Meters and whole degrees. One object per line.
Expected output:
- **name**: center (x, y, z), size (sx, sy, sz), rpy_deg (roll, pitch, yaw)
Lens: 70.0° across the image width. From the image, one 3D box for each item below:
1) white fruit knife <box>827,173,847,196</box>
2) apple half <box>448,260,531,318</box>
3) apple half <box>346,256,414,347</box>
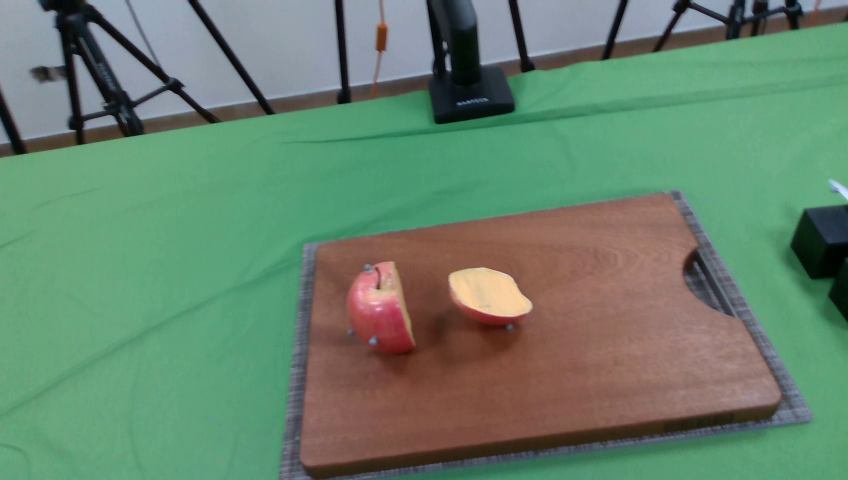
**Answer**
- **white fruit knife**: center (0.432, -0.002, 0.547), size (0.027, 0.016, 0.205), rpy_deg (6, 39, -17)
- **apple half**: center (0.056, 0.053, 0.569), size (0.081, 0.033, 0.080), rpy_deg (11, 30, -6)
- **apple half**: center (-0.043, 0.061, 0.556), size (0.053, 0.075, 0.080), rpy_deg (-16, 48, 0)
